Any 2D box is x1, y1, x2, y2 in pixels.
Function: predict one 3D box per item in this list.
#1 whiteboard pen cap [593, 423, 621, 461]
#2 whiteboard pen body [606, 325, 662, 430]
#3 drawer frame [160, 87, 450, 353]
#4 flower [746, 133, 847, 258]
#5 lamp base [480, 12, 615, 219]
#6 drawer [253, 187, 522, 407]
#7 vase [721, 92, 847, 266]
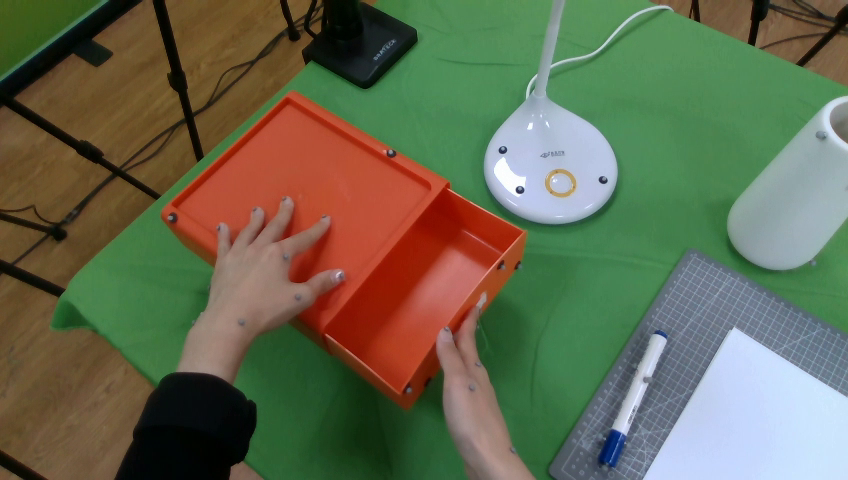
[{"bbox_3d":[0.175,0.192,0.577,0.018,0.018,0.033,26,68,16],"label":"whiteboard pen cap"},{"bbox_3d":[0.204,0.145,0.598,0.017,0.017,0.140,26,68,16],"label":"whiteboard pen body"},{"bbox_3d":[-0.116,-0.027,0.625,0.212,0.083,0.201,33,68,17],"label":"drawer frame"},{"bbox_3d":[0.387,-0.104,0.535,0.038,0.364,0.044,21,46,6],"label":"flower"},{"bbox_3d":[0.140,-0.142,0.670,0.161,0.182,0.177,-18,59,-7],"label":"lamp base"},{"bbox_3d":[-0.042,0.023,0.600,0.210,0.074,0.194,31,68,21],"label":"drawer"},{"bbox_3d":[0.375,-0.055,0.602,0.098,0.201,0.097,-2,60,3],"label":"vase"}]
